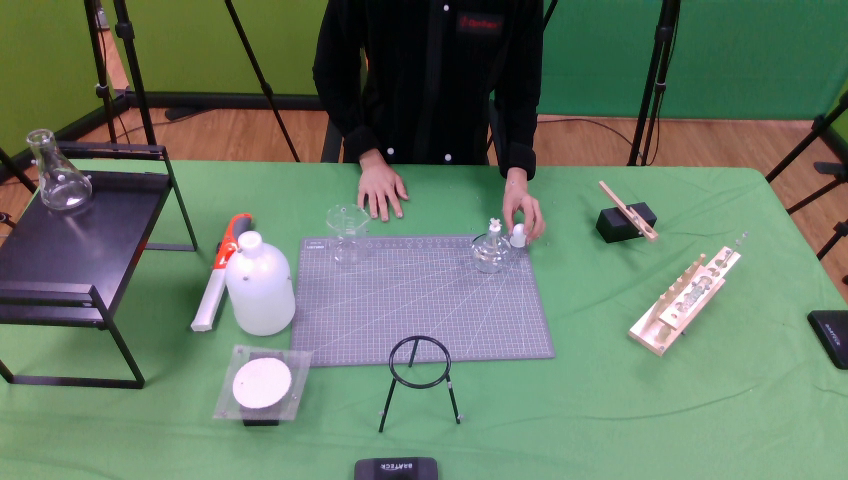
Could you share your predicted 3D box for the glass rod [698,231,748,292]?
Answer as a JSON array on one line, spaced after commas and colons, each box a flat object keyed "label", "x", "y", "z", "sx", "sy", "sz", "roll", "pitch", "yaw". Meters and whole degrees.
[{"label": "glass rod", "x": 0.514, "y": 0.044, "z": 1.051, "sx": 0.008, "sy": 0.200, "sz": 0.008, "roll": 1, "pitch": 55, "yaw": -1}]

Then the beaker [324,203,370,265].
[{"label": "beaker", "x": -0.142, "y": -0.009, "z": 1.137, "sx": 0.084, "sy": 0.101, "sz": 0.073, "roll": -2, "pitch": 47, "yaw": -7}]

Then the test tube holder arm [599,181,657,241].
[{"label": "test tube holder arm", "x": 0.407, "y": -0.062, "z": 1.219, "sx": 0.013, "sy": 0.015, "sz": 0.177, "roll": -23, "pitch": 51, "yaw": -12}]

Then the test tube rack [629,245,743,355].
[{"label": "test tube rack", "x": 0.474, "y": 0.095, "z": 1.091, "sx": 0.242, "sy": 0.085, "sz": 0.066, "roll": -34, "pitch": 56, "yaw": -31}]

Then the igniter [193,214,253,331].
[{"label": "igniter", "x": -0.368, "y": 0.050, "z": 1.119, "sx": 0.057, "sy": 0.025, "sz": 0.275, "roll": -3, "pitch": 46, "yaw": 8}]

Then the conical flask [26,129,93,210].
[{"label": "conical flask", "x": -0.575, "y": -0.113, "z": 0.946, "sx": 0.075, "sy": 0.122, "sz": 0.075, "roll": 2, "pitch": 46, "yaw": -2}]

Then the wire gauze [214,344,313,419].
[{"label": "wire gauze", "x": -0.241, "y": 0.213, "z": 0.915, "sx": 0.121, "sy": 0.011, "sz": 0.124, "roll": 5, "pitch": 46, "yaw": 1}]

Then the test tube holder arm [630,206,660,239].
[{"label": "test tube holder arm", "x": 0.431, "y": -0.034, "z": 1.192, "sx": 0.010, "sy": 0.015, "sz": 0.087, "roll": -23, "pitch": 51, "yaw": -12}]

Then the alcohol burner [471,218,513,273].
[{"label": "alcohol burner", "x": 0.128, "y": 0.005, "z": 1.132, "sx": 0.078, "sy": 0.120, "sz": 0.077, "roll": 0, "pitch": 47, "yaw": 0}]

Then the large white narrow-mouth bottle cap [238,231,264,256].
[{"label": "large white narrow-mouth bottle cap", "x": -0.266, "y": 0.006, "z": 0.932, "sx": 0.038, "sy": 0.024, "sz": 0.037, "roll": 2, "pitch": 46, "yaw": -2}]

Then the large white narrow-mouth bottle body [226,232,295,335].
[{"label": "large white narrow-mouth bottle body", "x": -0.270, "y": 0.065, "z": 0.995, "sx": 0.102, "sy": 0.195, "sz": 0.101, "roll": 2, "pitch": 46, "yaw": -2}]

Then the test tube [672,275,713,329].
[{"label": "test tube", "x": 0.438, "y": 0.106, "z": 1.007, "sx": 0.017, "sy": 0.151, "sz": 0.017, "roll": 4, "pitch": 51, "yaw": -4}]

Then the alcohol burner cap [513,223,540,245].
[{"label": "alcohol burner cap", "x": 0.194, "y": -0.015, "z": 1.162, "sx": 0.047, "sy": 0.034, "sz": 0.034, "roll": 27, "pitch": 50, "yaw": 22}]

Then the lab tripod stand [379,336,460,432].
[{"label": "lab tripod stand", "x": -0.011, "y": 0.214, "z": 0.911, "sx": 0.148, "sy": 0.132, "sz": 0.147, "roll": 1, "pitch": 45, "yaw": 0}]
